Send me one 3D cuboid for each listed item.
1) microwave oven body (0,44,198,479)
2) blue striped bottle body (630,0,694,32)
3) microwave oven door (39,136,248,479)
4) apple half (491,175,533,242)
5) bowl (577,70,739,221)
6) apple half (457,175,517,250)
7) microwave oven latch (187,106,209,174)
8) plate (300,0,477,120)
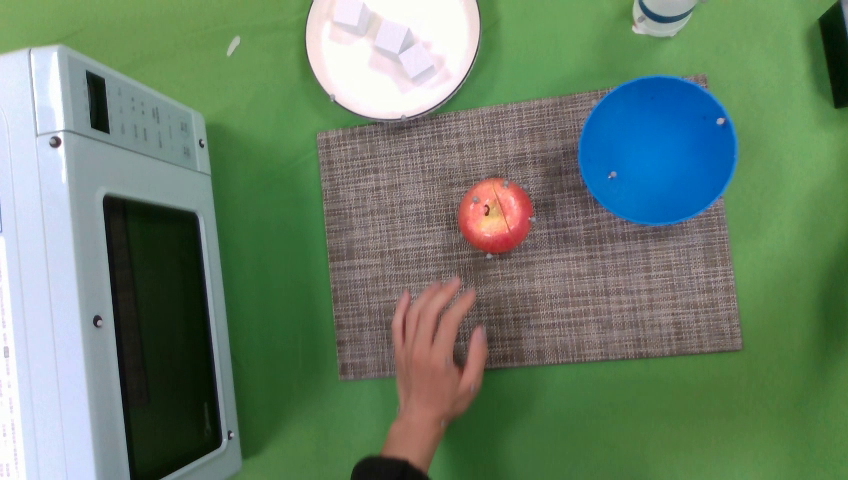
[{"bbox_3d":[-0.417,0.074,0.646,0.325,0.261,0.441,-9,87,9],"label":"microwave oven body"},{"bbox_3d":[0.251,-0.264,0.617,0.063,0.121,0.063,0,87,10],"label":"blue striped bottle body"},{"bbox_3d":[-0.270,0.093,0.615,0.039,0.244,0.355,-9,86,10],"label":"microwave oven door"},{"bbox_3d":[0.100,-0.038,0.654,0.033,0.081,0.081,-22,84,11],"label":"apple half"},{"bbox_3d":[0.234,-0.092,0.631,0.151,0.077,0.151,0,88,10],"label":"bowl"},{"bbox_3d":[0.065,-0.024,0.661,0.053,0.075,0.080,-22,87,11],"label":"apple half"},{"bbox_3d":[-0.280,-0.118,0.727,0.030,0.029,0.079,-8,87,9],"label":"microwave oven latch"},{"bbox_3d":[-0.040,-0.241,0.709,0.207,0.039,0.207,0,88,10],"label":"plate"}]
